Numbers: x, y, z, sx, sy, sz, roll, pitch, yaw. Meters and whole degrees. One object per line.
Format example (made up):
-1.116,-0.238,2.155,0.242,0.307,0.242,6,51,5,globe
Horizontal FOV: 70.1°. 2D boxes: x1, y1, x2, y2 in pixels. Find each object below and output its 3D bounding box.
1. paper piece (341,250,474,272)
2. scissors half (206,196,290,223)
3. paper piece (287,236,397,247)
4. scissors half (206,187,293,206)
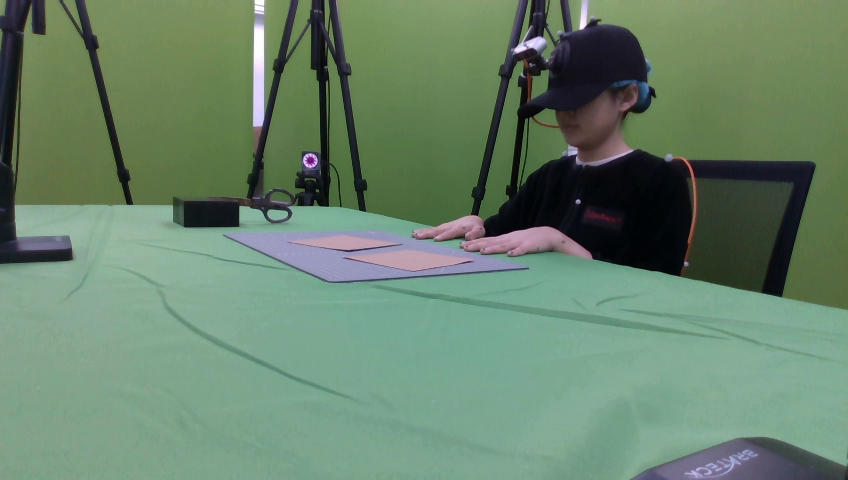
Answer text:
-0.023,0.027,0.848,0.135,0.004,0.136,8,9,39,paper piece
-0.356,-0.066,1.233,0.176,0.040,0.013,14,7,-35,scissors half
-0.130,0.004,0.986,0.137,0.008,0.137,7,4,35,paper piece
-0.352,-0.085,1.228,0.176,0.040,0.012,-6,24,-31,scissors half
